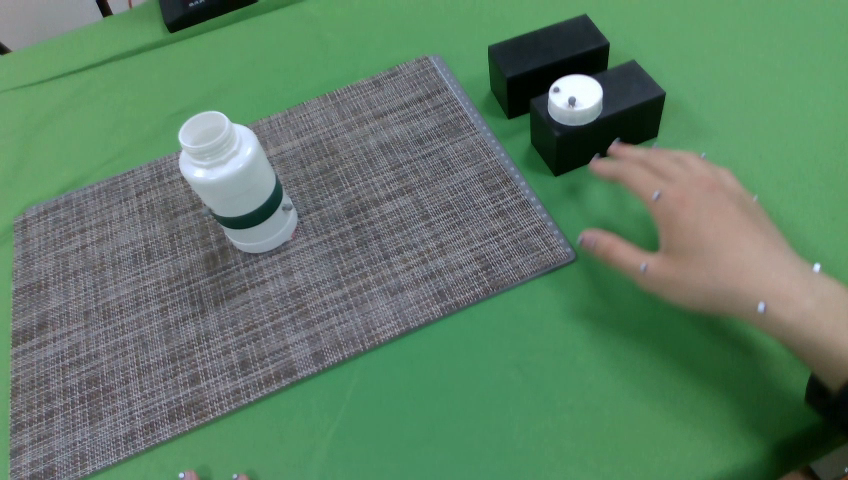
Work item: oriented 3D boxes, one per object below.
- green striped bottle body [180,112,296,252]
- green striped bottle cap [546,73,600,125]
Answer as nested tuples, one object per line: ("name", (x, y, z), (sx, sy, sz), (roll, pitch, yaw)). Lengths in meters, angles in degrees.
("green striped bottle body", (-0.153, -0.048, 0.496), (0.063, 0.120, 0.062), (-5, 54, 7))
("green striped bottle cap", (0.124, -0.117, 0.502), (0.044, 0.020, 0.044), (-3, 54, 5))
